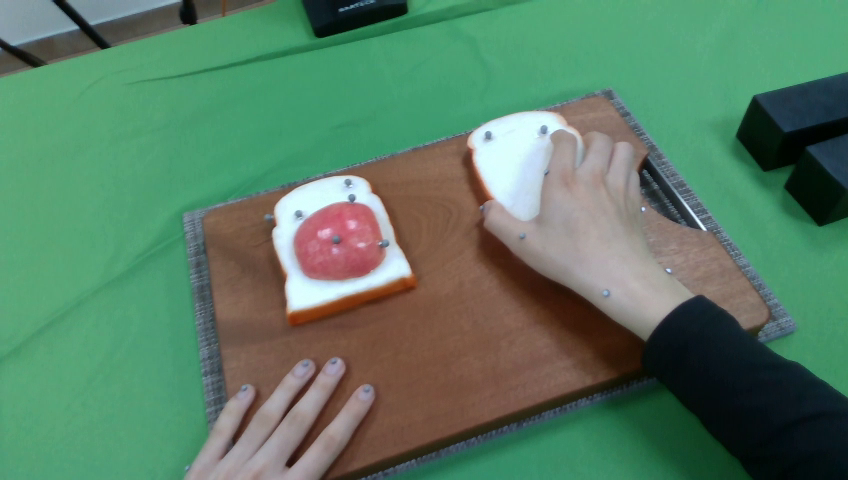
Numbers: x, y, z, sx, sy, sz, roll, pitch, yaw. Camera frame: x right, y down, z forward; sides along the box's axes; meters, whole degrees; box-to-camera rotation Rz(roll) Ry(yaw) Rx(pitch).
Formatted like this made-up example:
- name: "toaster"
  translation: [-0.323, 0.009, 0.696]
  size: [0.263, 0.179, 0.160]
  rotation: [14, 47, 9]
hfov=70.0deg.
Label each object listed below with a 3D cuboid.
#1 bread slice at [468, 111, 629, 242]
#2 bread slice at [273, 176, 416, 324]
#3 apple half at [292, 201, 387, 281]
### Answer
- name: "bread slice"
  translation: [0.097, -0.062, 0.533]
  size: [0.107, 0.018, 0.133]
  rotation: [-19, 54, -8]
- name: "bread slice"
  translation: [-0.076, 0.000, 0.509]
  size: [0.105, 0.019, 0.130]
  rotation: [-17, 56, -8]
- name: "apple half"
  translation: [-0.070, -0.005, 0.482]
  size: [0.081, 0.033, 0.080]
  rotation: [-2, 54, 3]
